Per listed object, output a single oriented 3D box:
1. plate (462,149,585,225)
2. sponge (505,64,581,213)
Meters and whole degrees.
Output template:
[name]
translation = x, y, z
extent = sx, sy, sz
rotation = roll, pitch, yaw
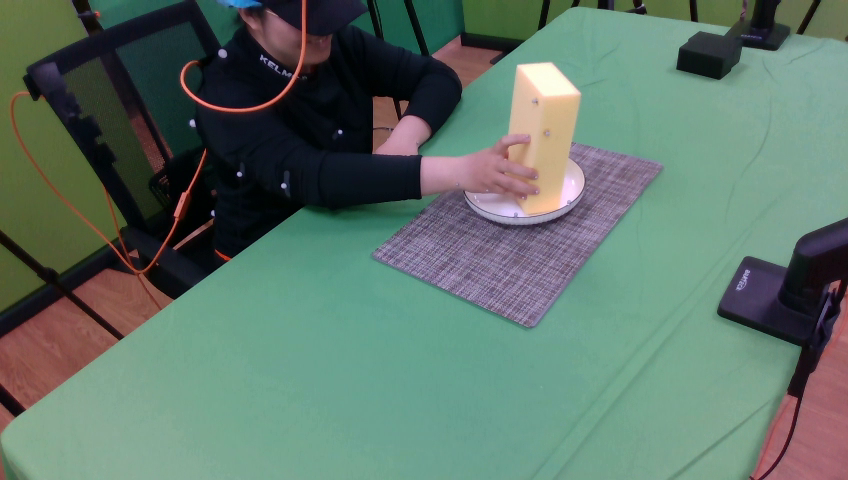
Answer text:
[plate]
translation = 0.170, -0.089, 1.041
extent = 0.207, 0.039, 0.206
rotation = -5, 40, 5
[sponge]
translation = 0.186, -0.162, 0.976
extent = 0.061, 0.207, 0.117
rotation = -7, 38, -11
